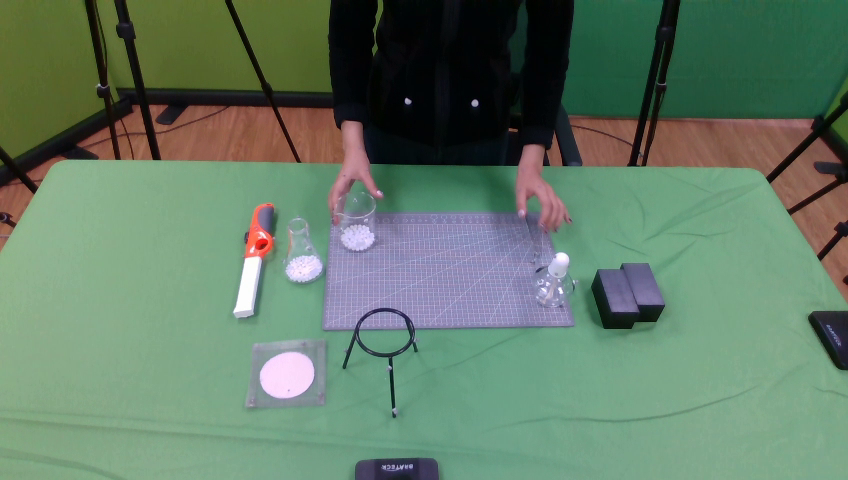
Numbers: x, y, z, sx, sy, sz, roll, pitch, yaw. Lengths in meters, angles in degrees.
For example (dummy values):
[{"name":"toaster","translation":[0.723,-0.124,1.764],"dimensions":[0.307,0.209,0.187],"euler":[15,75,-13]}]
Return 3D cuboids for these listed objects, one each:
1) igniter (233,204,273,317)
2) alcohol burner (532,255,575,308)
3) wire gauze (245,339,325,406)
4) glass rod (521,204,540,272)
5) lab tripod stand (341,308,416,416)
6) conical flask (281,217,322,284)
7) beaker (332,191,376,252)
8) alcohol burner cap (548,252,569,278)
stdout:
[{"name":"igniter","translation":[-0.321,0.029,1.142],"dimensions":[0.057,0.025,0.274],"euler":[-7,46,4]},{"name":"alcohol burner","translation":[0.235,0.066,1.087],"dimensions":[0.078,0.119,0.077],"euler":[4,45,-3]},{"name":"wire gauze","translation":[-0.224,0.215,0.984],"dimensions":[0.125,0.011,0.120],"euler":[-2,46,-5]},{"name":"glass rod","translation":[0.215,-0.008,1.230],"dimensions":[0.008,0.008,0.198],"euler":[0,43,-3]},{"name":"lab tripod stand","translation":[-0.061,0.177,0.946],"dimensions":[0.148,0.132,0.147],"euler":[2,44,-2]},{"name":"conical flask","translation":[-0.226,0.016,1.097],"dimensions":[0.075,0.122,0.075],"euler":[2,46,-2]},{"name":"beaker","translation":[-0.133,-0.032,1.163],"dimensions":[0.084,0.101,0.073],"euler":[-18,50,-20]},{"name":"alcohol burner cap","translation":[0.238,0.042,1.060],"dimensions":[0.034,0.048,0.033],"euler":[1,53,-1]}]
